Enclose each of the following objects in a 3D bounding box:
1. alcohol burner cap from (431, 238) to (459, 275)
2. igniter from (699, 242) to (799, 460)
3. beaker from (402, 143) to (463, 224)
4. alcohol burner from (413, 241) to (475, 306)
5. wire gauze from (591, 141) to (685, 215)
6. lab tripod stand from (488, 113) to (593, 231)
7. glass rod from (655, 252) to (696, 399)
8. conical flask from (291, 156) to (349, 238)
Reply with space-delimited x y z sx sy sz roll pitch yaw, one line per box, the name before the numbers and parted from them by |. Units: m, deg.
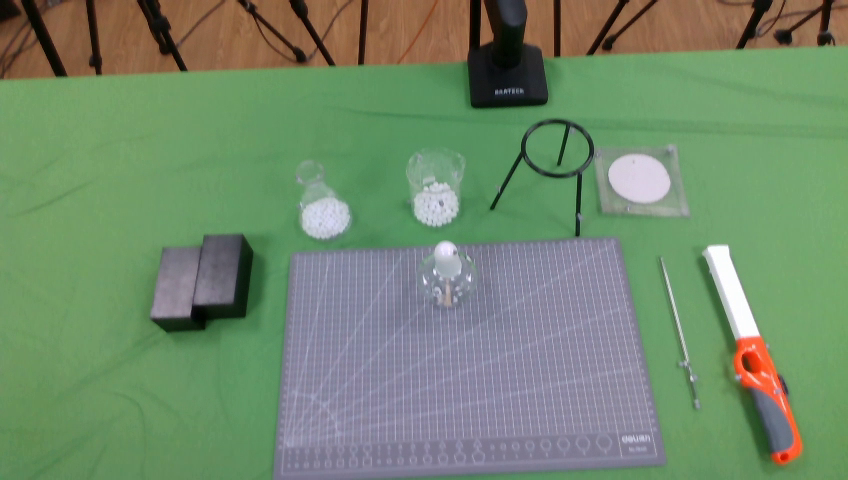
alcohol burner cap | 0.024 0.016 0.719 0.034 0.048 0.033 -4 57 6
igniter | 0.396 0.126 0.745 0.057 0.025 0.274 -1 62 -11
beaker | 0.013 -0.074 0.818 0.084 0.101 0.073 -27 65 -12
alcohol burner | 0.025 0.035 0.750 0.078 0.120 0.077 0 61 1
wire gauze | 0.306 -0.093 0.872 0.125 0.011 0.120 2 64 1
lab tripod stand | 0.161 -0.090 0.803 0.148 0.132 0.147 -1 64 2
glass rod | 0.319 0.103 0.771 0.008 0.008 0.198 -3 62 0
conical flask | -0.144 -0.061 0.802 0.075 0.123 0.074 -1 62 2
